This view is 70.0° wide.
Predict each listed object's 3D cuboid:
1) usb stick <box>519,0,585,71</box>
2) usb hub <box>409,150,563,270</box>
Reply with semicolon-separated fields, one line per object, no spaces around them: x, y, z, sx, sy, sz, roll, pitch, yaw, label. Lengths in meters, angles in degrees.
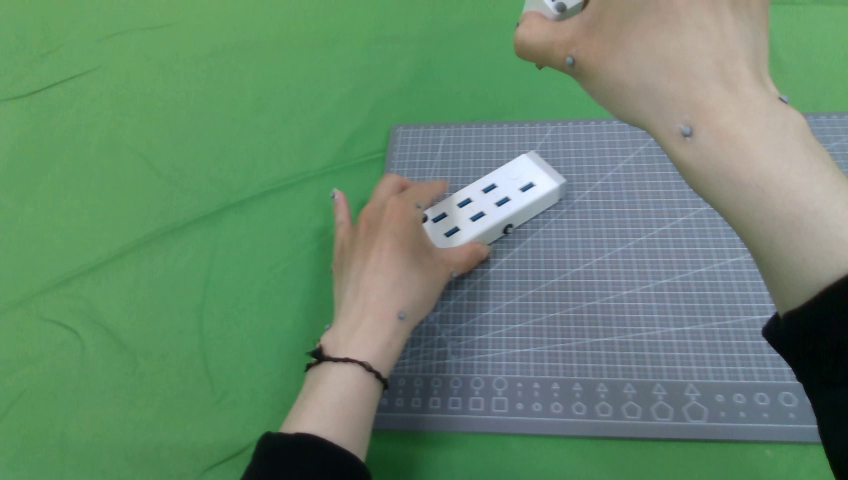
0.071;-0.120;0.344;0.021;0.059;0.027;-35;72;-9;usb stick
0.052;-0.027;0.504;0.125;0.025;0.049;-30;57;-15;usb hub
